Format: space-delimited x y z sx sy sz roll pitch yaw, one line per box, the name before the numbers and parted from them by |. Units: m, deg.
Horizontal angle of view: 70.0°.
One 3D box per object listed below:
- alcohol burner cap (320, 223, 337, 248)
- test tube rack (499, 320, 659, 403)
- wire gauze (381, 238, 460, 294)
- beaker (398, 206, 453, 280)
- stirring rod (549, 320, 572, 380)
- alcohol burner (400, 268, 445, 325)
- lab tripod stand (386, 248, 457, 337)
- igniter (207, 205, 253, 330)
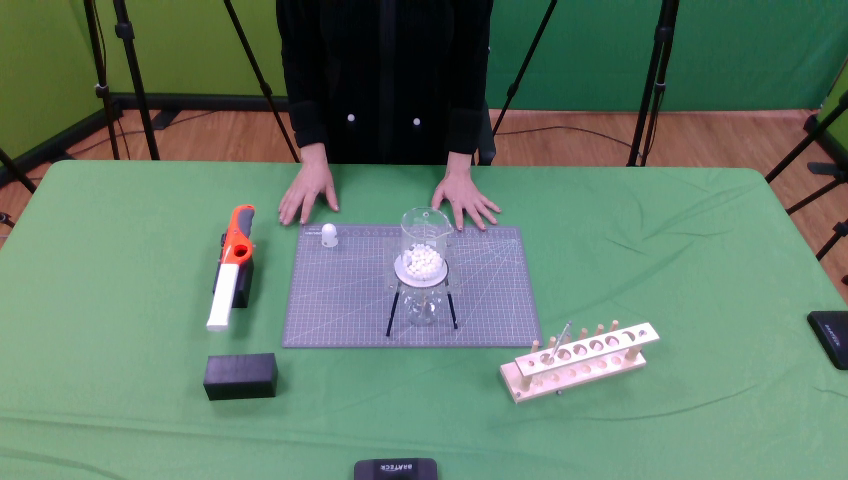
alcohol burner cap | -0.187 -0.011 1.176 0.034 0.048 0.033 2 47 -2
test tube rack | 0.252 0.187 0.994 0.243 0.085 0.066 -12 48 -15
wire gauze | -0.007 0.042 0.985 0.125 0.011 0.120 -1 43 -2
beaker | 0.000 0.008 0.950 0.084 0.101 0.073 10 45 6
stirring rod | 0.201 0.167 0.901 0.006 0.177 0.014 -16 54 -10
alcohol burner | -0.003 0.092 1.042 0.078 0.120 0.077 1 46 -1
lab tripod stand | -0.010 0.087 1.032 0.148 0.132 0.147 1 45 -1
igniter | -0.339 0.038 1.066 0.057 0.025 0.274 2 48 -6
